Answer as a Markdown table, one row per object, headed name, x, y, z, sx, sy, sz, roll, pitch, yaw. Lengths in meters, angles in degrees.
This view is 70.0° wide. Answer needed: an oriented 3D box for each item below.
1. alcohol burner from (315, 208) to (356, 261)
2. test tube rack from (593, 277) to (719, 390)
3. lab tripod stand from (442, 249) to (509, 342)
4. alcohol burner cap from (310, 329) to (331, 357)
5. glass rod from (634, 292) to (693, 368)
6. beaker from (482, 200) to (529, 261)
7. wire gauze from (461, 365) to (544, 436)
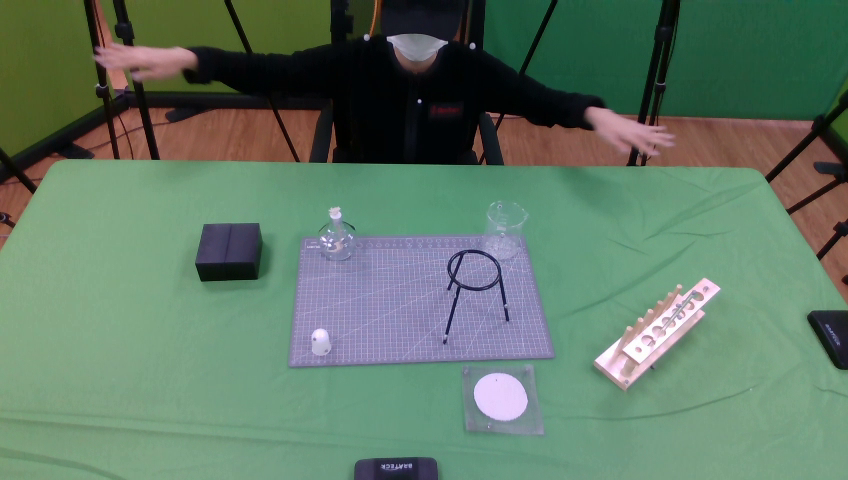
| name | x | y | z | sx | sy | sz | roll | pitch | yaw |
| --- | --- | --- | --- | --- | --- | --- | --- | --- | --- |
| alcohol burner | -0.166 | -0.017 | 1.134 | 0.078 | 0.119 | 0.077 | 2 | 48 | -2 |
| test tube rack | 0.401 | 0.148 | 1.043 | 0.242 | 0.085 | 0.066 | -30 | 55 | -29 |
| lab tripod stand | 0.082 | 0.090 | 1.036 | 0.148 | 0.132 | 0.147 | 3 | 44 | -3 |
| alcohol burner cap | -0.173 | 0.168 | 1.004 | 0.034 | 0.048 | 0.033 | 2 | 46 | -2 |
| glass rod | 0.370 | 0.146 | 0.950 | 0.008 | 0.200 | 0.008 | 8 | 44 | -8 |
| beaker | 0.153 | -0.016 | 1.169 | 0.084 | 0.101 | 0.073 | -2 | 46 | -7 |
| wire gauze | 0.124 | 0.254 | 0.973 | 0.125 | 0.011 | 0.120 | 3 | 47 | -3 |
